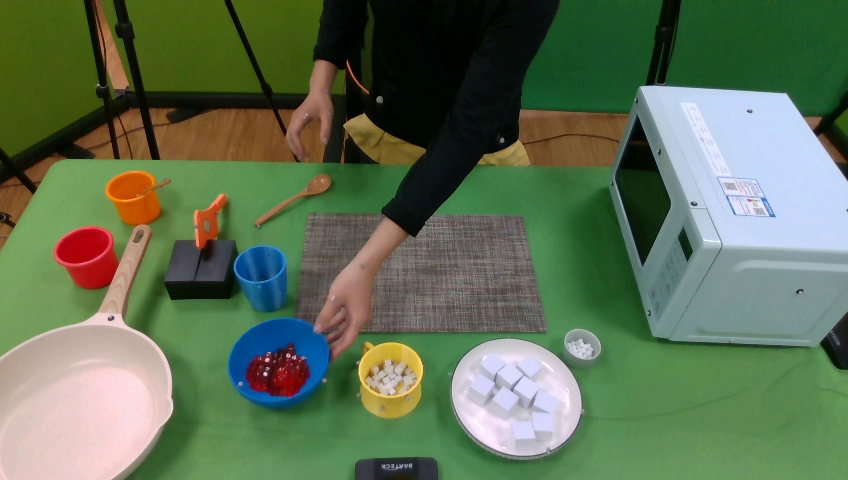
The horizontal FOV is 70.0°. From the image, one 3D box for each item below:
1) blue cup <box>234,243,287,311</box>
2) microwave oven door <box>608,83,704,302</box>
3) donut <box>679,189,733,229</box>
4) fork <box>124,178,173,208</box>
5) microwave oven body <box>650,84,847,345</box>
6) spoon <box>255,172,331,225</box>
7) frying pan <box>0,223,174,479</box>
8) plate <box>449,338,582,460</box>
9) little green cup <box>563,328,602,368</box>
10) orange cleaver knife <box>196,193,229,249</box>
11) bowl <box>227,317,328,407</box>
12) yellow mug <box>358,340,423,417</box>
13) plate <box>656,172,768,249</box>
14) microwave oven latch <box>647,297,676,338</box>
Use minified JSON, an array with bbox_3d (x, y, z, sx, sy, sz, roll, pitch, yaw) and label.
[{"bbox_3d":[-0.276,0.072,1.052,0.093,0.101,0.092,1,48,-1],"label":"blue cup"},{"bbox_3d":[0.424,-0.096,1.138,0.039,0.245,0.353,2,47,-1],"label":"microwave oven door"},{"bbox_3d":[0.545,-0.062,1.175,0.099,0.048,0.098,1,44,-1],"label":"donut"},{"bbox_3d":[-0.525,-0.089,1.153,0.207,0.019,0.028,-18,27,45],"label":"fork"},{"bbox_3d":[0.569,-0.054,1.116,0.326,0.261,0.439,2,46,-1],"label":"microwave oven body"},{"bbox_3d":[-0.272,-0.087,1.257,0.041,0.022,0.193,43,57,16],"label":"spoon"},{"bbox_3d":[-0.504,0.169,0.941,0.307,0.103,0.485,5,54,-1],"label":"frying pan"},{"bbox_3d":[0.141,0.251,0.955,0.208,0.039,0.206,2,47,-2],"label":"plate"},{"bbox_3d":[0.266,0.185,1.025,0.061,0.039,0.061,1,45,-1],"label":"little green cup"},{"bbox_3d":[-0.406,-0.041,1.163,0.012,0.077,0.210,0,18,-3],"label":"orange cleaver knife"},{"bbox_3d":[-0.222,0.203,0.947,0.151,0.077,0.150,2,46,-2],"label":"bowl"},{"bbox_3d":[-0.062,0.209,0.961,0.100,0.064,0.130,-29,54,-27],"label":"yellow mug"},{"bbox_3d":[0.557,-0.054,1.186,0.209,0.038,0.208,1,45,-1],"label":"plate"},{"bbox_3d":[0.413,0.133,1.060,0.030,0.029,0.078,5,46,2],"label":"microwave oven latch"}]
